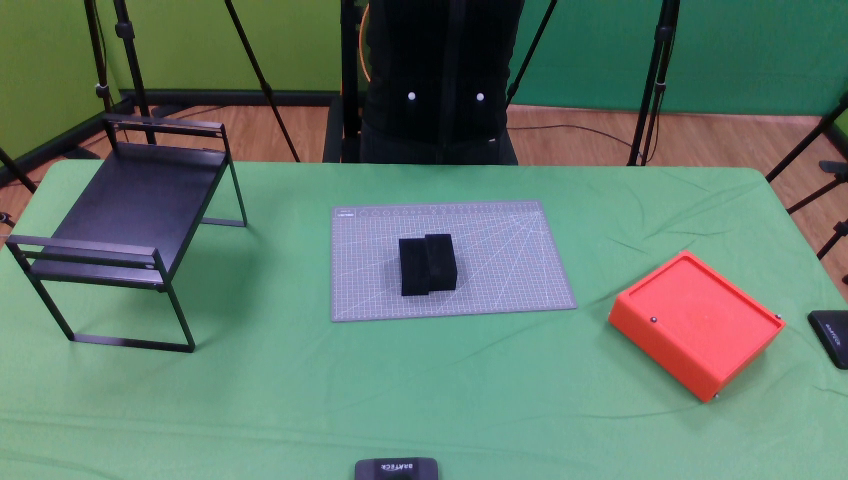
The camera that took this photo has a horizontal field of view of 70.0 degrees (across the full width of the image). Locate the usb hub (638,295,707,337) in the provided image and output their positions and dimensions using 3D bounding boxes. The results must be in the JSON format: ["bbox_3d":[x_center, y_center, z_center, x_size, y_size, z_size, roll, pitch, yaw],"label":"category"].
[{"bbox_3d":[0.441,0.134,1.072,0.125,0.025,0.049,-15,35,-28],"label":"usb hub"}]

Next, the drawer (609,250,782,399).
[{"bbox_3d":[0.469,0.140,1.057,0.194,0.073,0.210,-28,55,-27],"label":"drawer"}]

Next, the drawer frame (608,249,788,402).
[{"bbox_3d":[0.470,0.139,1.053,0.202,0.083,0.212,-28,55,-28],"label":"drawer frame"}]
